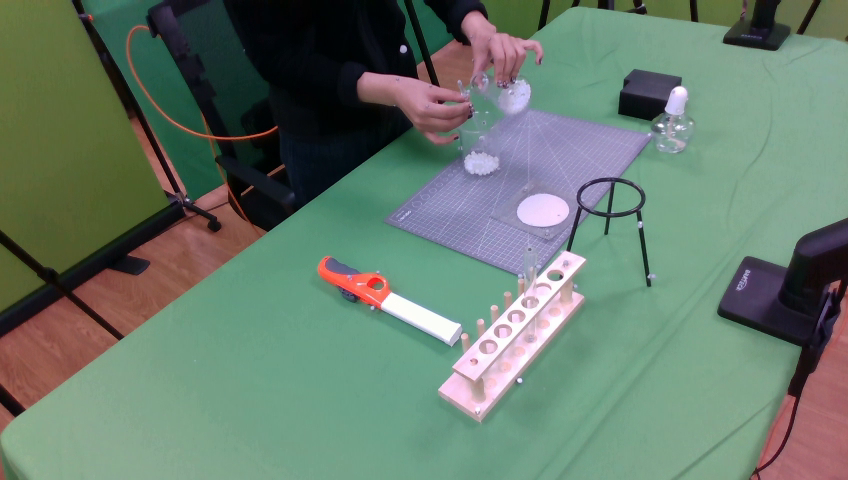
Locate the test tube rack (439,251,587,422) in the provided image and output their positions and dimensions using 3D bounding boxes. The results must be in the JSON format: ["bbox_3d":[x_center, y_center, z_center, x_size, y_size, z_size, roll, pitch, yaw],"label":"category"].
[{"bbox_3d":[0.118,0.111,0.780,0.066,0.085,0.243,26,51,34],"label":"test tube rack"}]

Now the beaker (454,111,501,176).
[{"bbox_3d":[0.101,-0.173,1.106,0.084,0.101,0.073,-5,40,6],"label":"beaker"}]

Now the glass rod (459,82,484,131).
[{"bbox_3d":[0.084,-0.223,1.030,0.008,0.201,0.008,-3,78,15],"label":"glass rod"}]

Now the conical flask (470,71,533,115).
[{"bbox_3d":[0.132,-0.267,1.071,0.074,0.075,0.123,31,19,38],"label":"conical flask"}]

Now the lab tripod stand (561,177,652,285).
[{"bbox_3d":[0.263,-0.014,0.864,0.148,0.132,0.147,-7,38,6],"label":"lab tripod stand"}]

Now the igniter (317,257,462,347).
[{"bbox_3d":[-0.061,0.086,0.891,0.274,0.025,0.057,23,59,33],"label":"igniter"}]

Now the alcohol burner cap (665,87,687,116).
[{"bbox_3d":[0.445,-0.244,1.060,0.034,0.048,0.033,-2,45,3],"label":"alcohol burner cap"}]

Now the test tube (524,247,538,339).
[{"bbox_3d":[0.133,0.070,0.749,0.017,0.151,0.017,-5,38,4],"label":"test tube"}]

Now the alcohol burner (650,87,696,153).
[{"bbox_3d":[0.448,-0.217,1.084,0.078,0.119,0.077,-6,38,5],"label":"alcohol burner"}]

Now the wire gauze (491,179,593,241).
[{"bbox_3d":[0.198,-0.051,1.014,0.125,0.011,0.120,-38,48,-27],"label":"wire gauze"}]
